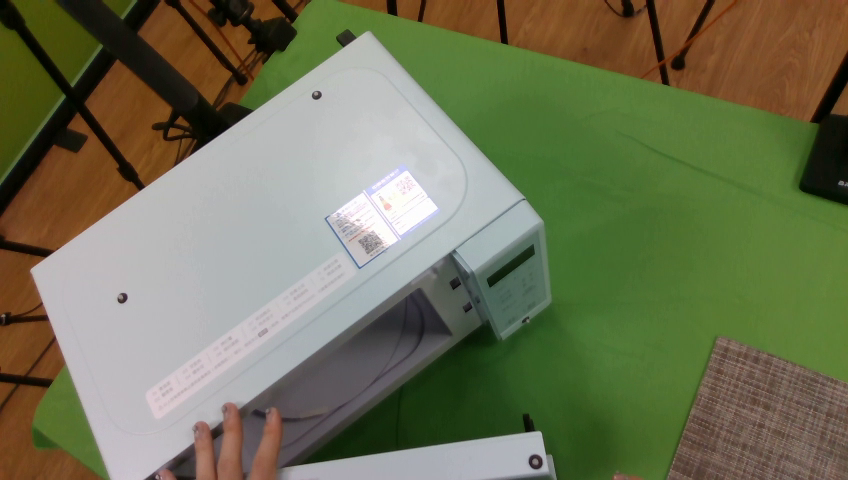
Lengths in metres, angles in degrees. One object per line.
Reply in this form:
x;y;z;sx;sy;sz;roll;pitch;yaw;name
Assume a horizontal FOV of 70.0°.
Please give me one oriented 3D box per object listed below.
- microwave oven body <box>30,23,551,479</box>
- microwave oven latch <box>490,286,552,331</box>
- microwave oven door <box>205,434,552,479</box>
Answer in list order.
-0.130;0.037;0.689;0.441;0.262;0.323;-37;65;-3;microwave oven body
0.116;0.074;0.723;0.079;0.030;0.030;-35;64;-2;microwave oven latch
-0.059;0.229;0.584;0.355;0.246;0.039;-11;66;8;microwave oven door
